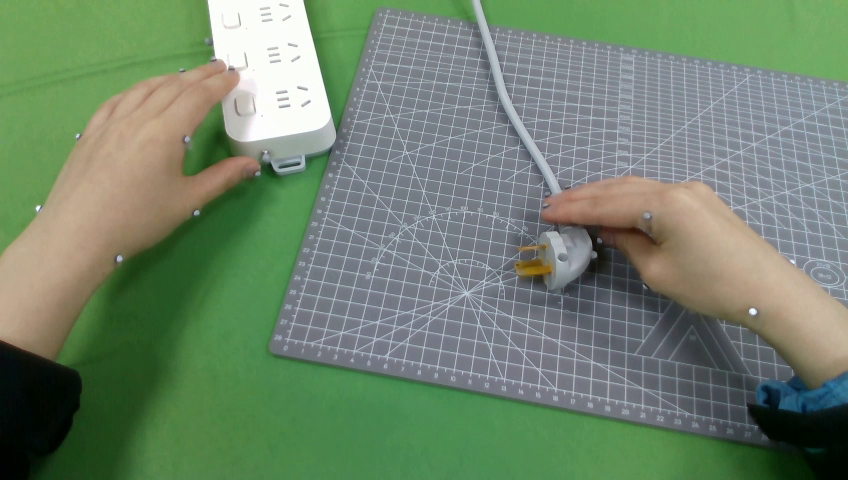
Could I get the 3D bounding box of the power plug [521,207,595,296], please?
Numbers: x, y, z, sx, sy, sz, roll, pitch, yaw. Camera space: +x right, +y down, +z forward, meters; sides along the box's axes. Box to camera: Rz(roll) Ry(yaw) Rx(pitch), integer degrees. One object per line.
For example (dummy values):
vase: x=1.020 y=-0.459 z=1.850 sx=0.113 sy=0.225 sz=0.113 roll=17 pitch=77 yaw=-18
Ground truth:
power plug: x=0.080 y=0.006 z=0.351 sx=0.035 sy=0.073 sz=0.052 roll=4 pitch=92 yaw=17

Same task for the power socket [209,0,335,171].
power socket: x=-0.120 y=-0.152 z=0.454 sx=0.072 sy=0.033 sz=0.224 roll=-11 pitch=63 yaw=-10
